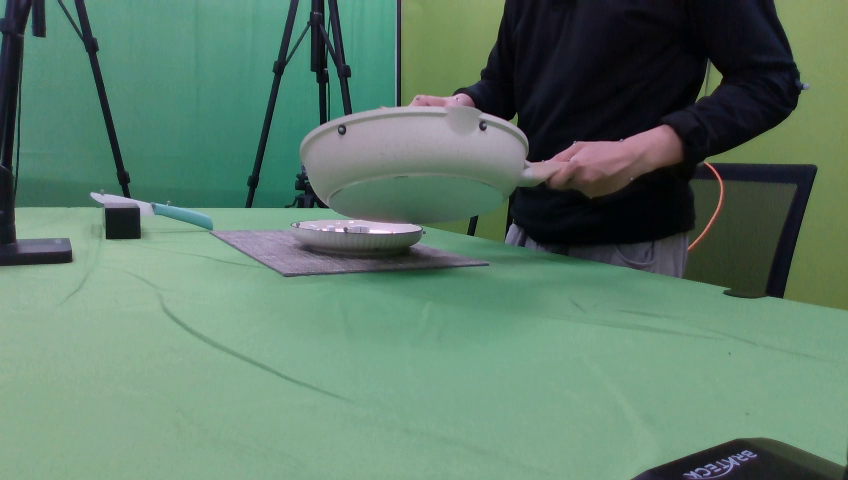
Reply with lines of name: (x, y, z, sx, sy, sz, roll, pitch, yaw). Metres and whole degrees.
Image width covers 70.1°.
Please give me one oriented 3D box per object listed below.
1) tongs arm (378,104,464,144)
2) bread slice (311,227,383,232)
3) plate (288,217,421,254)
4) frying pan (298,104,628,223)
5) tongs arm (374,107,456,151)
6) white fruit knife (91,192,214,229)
tongs arm: (0.007, -0.176, 0.940, 0.028, 0.027, 0.388, -29, -4, 19)
bread slice: (-0.115, -0.005, 0.950, 0.134, 0.018, 0.107, 4, 6, -7)
plate: (-0.109, -0.008, 0.956, 0.208, 0.039, 0.207, 2, 7, 0)
frying pan: (0.083, -0.094, 0.815, 0.490, 0.102, 0.306, -6, -9, -23)
tongs arm: (-0.002, -0.172, 0.943, 0.050, 0.026, 0.385, -25, -2, 11)
white fruit knife: (-0.478, -0.055, 1.078, 0.208, 0.027, 0.016, 14, 1, -30)
